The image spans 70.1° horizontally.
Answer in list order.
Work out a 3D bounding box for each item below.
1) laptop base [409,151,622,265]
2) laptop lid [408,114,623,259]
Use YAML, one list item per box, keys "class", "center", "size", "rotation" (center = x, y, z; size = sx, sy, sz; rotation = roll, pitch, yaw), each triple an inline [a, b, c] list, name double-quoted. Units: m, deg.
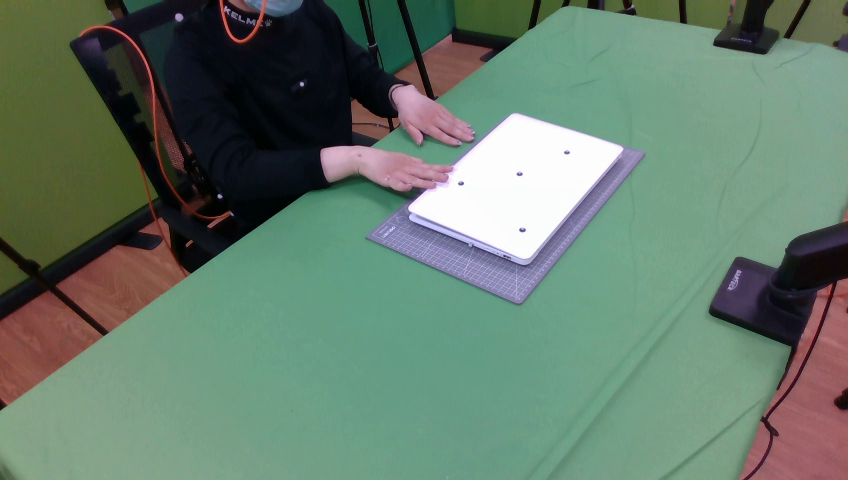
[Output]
- class: "laptop base"
  center: [0.168, -0.095, 1.057]
  size: [0.233, 0.023, 0.355]
  rotation: [20, 47, 32]
- class: "laptop lid"
  center: [0.165, -0.111, 1.044]
  size: [0.240, 0.013, 0.357]
  rotation: [25, 50, 30]
